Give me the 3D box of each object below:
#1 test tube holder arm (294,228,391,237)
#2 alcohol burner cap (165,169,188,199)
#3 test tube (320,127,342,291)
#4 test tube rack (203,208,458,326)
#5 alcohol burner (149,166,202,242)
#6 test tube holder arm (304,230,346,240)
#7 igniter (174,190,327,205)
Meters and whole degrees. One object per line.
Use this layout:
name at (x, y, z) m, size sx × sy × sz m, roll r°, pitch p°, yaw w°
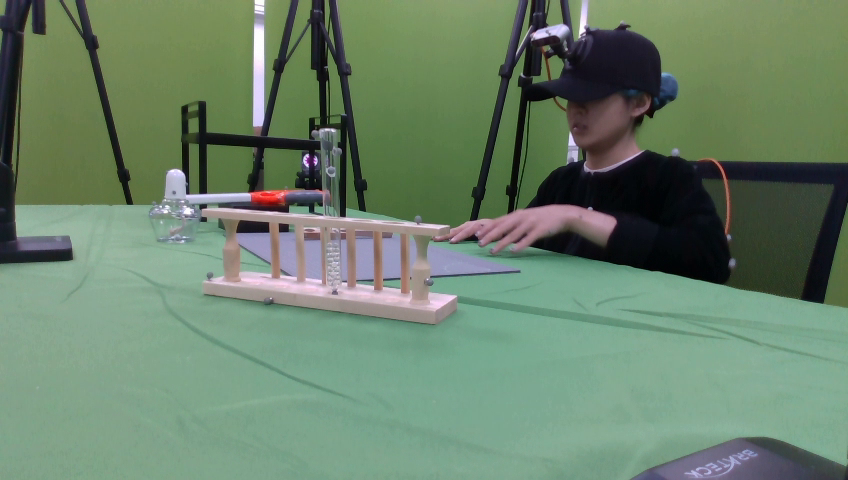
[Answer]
test tube holder arm at (-0.138, -0.013, 1.054) m, size 0.179 × 0.015 × 0.013 m, roll -1°, pitch 43°, yaw -32°
alcohol burner cap at (-0.386, -0.087, 0.943) m, size 0.034 × 0.048 × 0.034 m, roll 4°, pitch 7°, yaw 0°
test tube at (-0.084, -0.027, 0.554) m, size 0.017 × 0.150 × 0.017 m, roll -1°, pitch 6°, yaw 0°
test tube rack at (-0.090, 0.019, 0.579) m, size 0.241 × 0.085 × 0.067 m, roll 5°, pitch 7°, yaw 19°
alcohol burner at (-0.388, -0.056, 0.947) m, size 0.078 × 0.119 × 0.078 m, roll 5°, pitch 6°, yaw 0°
test tube holder arm at (-0.175, -0.009, 1.027) m, size 0.088 × 0.015 × 0.010 m, roll 0°, pitch 43°, yaw -31°
igniter at (-0.317, -0.079, 1.131) m, size 0.278 × 0.025 × 0.057 m, roll -4°, pitch 13°, yaw -31°
